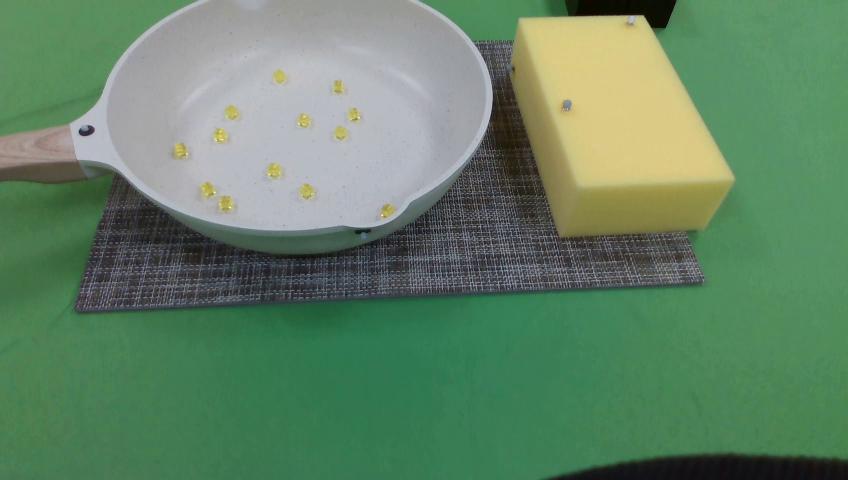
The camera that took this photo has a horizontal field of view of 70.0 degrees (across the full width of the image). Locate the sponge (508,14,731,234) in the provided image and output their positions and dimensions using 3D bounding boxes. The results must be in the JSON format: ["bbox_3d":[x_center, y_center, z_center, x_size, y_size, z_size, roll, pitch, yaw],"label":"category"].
[{"bbox_3d":[0.151,-0.105,0.510,0.118,0.061,0.204,-4,53,-6],"label":"sponge"}]

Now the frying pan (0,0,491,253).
[{"bbox_3d":[-0.188,-0.080,0.446,0.489,0.103,0.303,-14,54,-23],"label":"frying pan"}]
